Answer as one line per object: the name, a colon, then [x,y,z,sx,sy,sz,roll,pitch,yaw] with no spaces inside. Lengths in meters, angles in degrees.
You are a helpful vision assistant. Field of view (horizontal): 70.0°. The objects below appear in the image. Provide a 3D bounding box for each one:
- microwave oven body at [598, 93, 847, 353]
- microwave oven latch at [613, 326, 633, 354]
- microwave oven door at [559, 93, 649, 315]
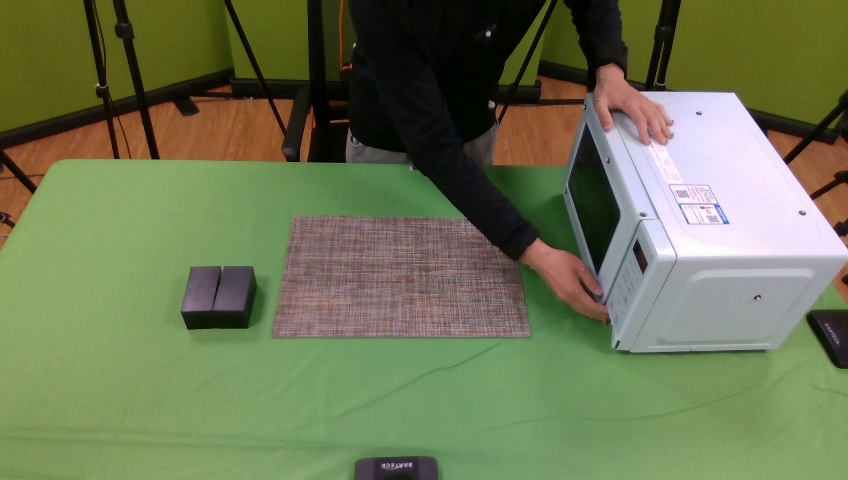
microwave oven body: [0.476,-0.042,1.109,0.326,0.261,0.438,-1,45,-4]
microwave oven latch: [0.340,0.156,1.041,0.030,0.029,0.079,11,46,8]
microwave oven door: [0.323,-0.074,1.123,0.039,0.245,0.353,1,46,-4]
